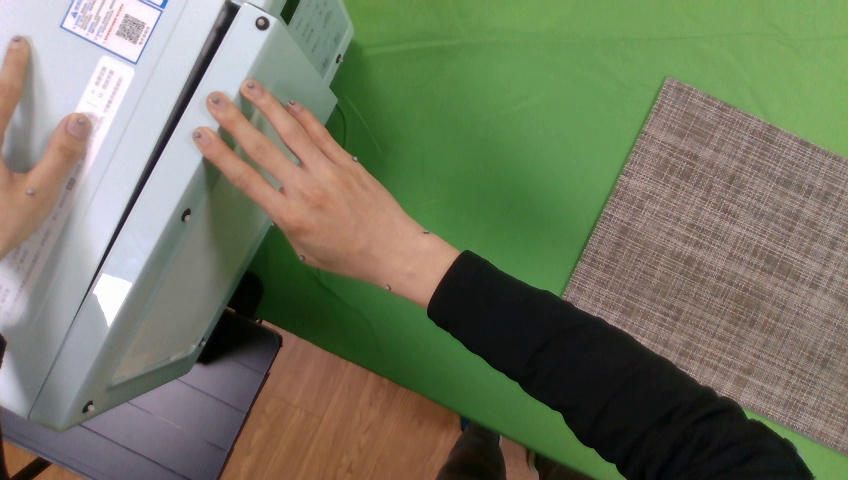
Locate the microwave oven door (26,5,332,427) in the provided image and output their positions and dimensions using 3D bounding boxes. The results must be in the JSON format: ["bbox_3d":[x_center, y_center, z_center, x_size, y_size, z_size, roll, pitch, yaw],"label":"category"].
[{"bbox_3d":[-0.206,-0.017,0.569,0.039,0.244,0.355,28,91,2],"label":"microwave oven door"}]

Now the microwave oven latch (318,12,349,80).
[{"bbox_3d":[-0.110,-0.215,0.666,0.030,0.029,0.079,29,91,1],"label":"microwave oven latch"}]

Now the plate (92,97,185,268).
[{"bbox_3d":[-0.329,-0.076,0.633,0.209,0.038,0.209,0,92,1],"label":"plate"}]

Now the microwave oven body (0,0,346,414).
[{"bbox_3d":[-0.325,-0.123,0.575,0.326,0.260,0.441,26,91,1],"label":"microwave oven body"}]
